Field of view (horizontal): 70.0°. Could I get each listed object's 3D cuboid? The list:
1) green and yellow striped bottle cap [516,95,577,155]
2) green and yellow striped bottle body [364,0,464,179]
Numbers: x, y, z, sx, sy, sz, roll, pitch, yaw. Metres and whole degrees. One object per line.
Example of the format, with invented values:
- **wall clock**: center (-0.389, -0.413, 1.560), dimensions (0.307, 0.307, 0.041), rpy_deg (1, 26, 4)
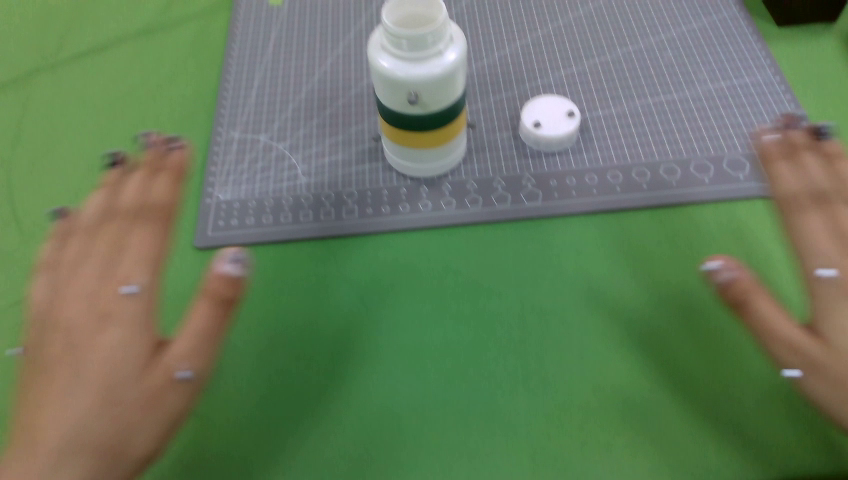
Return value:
- **green and yellow striped bottle cap**: center (0.091, -0.087, 0.452), dimensions (0.045, 0.020, 0.045), rpy_deg (-1, 59, 3)
- **green and yellow striped bottle body**: center (-0.005, -0.101, 0.403), dimensions (0.063, 0.121, 0.062), rpy_deg (-2, 57, 3)
